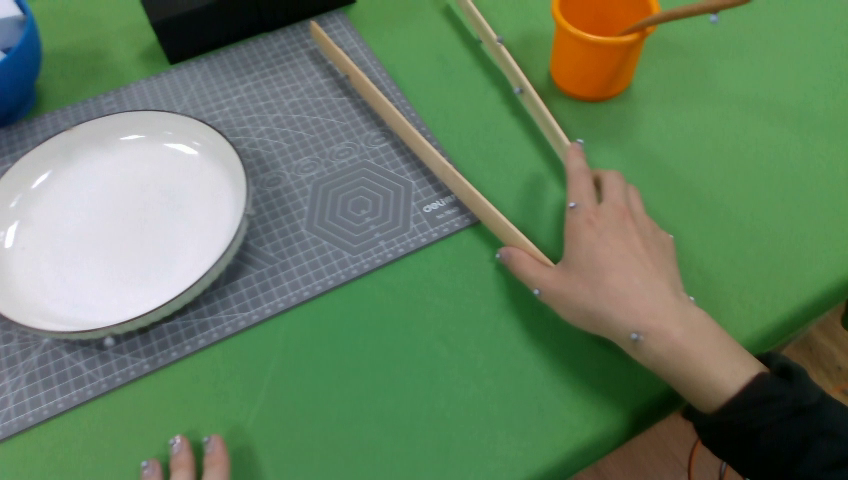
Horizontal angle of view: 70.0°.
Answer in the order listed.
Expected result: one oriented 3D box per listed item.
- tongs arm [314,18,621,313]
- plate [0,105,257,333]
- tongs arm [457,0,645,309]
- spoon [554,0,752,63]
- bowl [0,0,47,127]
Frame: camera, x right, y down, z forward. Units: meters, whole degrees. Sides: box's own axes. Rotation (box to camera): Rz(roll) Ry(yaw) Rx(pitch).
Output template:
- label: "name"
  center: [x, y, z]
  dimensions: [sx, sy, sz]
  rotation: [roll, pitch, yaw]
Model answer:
- label: "tongs arm"
  center: [0.012, -0.078, 0.509]
  dimensions: [0.028, 0.028, 0.384]
  rotation: [-31, 63, -22]
- label: "plate"
  center: [-0.232, -0.019, 0.475]
  dimensions: [0.207, 0.039, 0.205]
  rotation: [-1, 58, 2]
- label: "tongs arm"
  center: [0.084, -0.111, 0.528]
  dimensions: [0.051, 0.027, 0.381]
  rotation: [-20, 61, -13]
- label: "spoon"
  center: [0.180, -0.176, 0.498]
  dimensions: [0.041, 0.192, 0.022]
  rotation: [-46, 111, -20]
- label: "bowl"
  center: [-0.406, -0.153, 0.545]
  dimensions: [0.151, 0.077, 0.150]
  rotation: [-1, 57, 2]
